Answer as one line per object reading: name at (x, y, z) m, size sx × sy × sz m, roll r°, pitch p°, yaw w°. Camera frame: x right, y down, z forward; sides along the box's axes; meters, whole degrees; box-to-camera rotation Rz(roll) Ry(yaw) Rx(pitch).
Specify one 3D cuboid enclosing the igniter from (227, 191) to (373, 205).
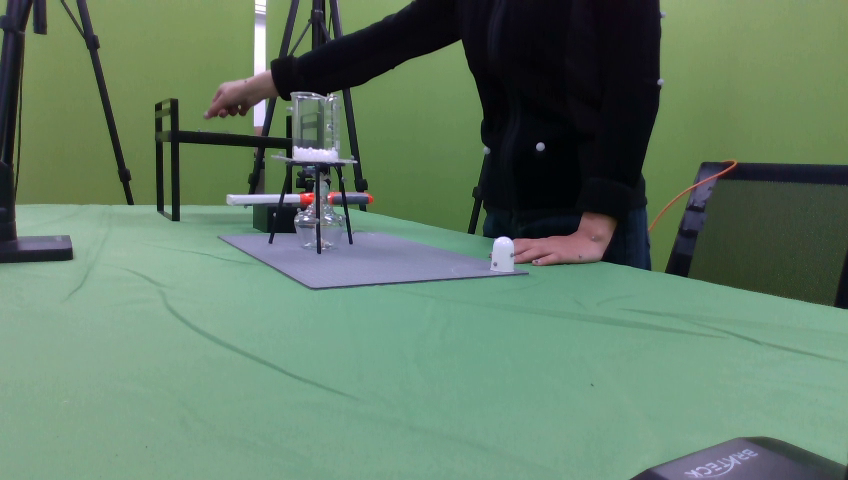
igniter at (-0.232, -0.080, 1.161) m, size 0.278 × 0.025 × 0.057 m, roll -3°, pitch 12°, yaw -28°

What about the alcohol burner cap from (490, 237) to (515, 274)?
alcohol burner cap at (0.104, 0.020, 0.793) m, size 0.034 × 0.048 × 0.034 m, roll 3°, pitch 6°, yaw 0°

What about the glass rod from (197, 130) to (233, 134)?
glass rod at (-0.450, -0.232, 1.294) m, size 0.008 × 0.008 × 0.198 m, roll -4°, pitch 10°, yaw -39°

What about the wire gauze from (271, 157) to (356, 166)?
wire gauze at (-0.166, -0.120, 0.917) m, size 0.125 × 0.011 × 0.121 m, roll -2°, pitch 6°, yaw -8°

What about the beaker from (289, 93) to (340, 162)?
beaker at (-0.162, -0.167, 0.908) m, size 0.074 × 0.100 × 0.083 m, roll -4°, pitch 11°, yaw -31°

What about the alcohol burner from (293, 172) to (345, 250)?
alcohol burner at (-0.159, -0.044, 0.921) m, size 0.078 × 0.119 × 0.078 m, roll 4°, pitch 7°, yaw 0°

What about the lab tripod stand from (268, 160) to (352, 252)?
lab tripod stand at (-0.171, -0.055, 0.921) m, size 0.148 × 0.131 × 0.148 m, roll 1°, pitch 9°, yaw 0°
